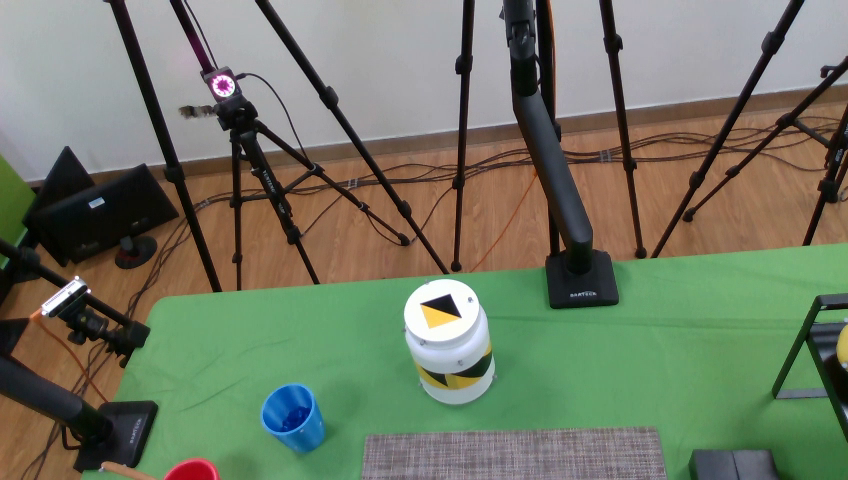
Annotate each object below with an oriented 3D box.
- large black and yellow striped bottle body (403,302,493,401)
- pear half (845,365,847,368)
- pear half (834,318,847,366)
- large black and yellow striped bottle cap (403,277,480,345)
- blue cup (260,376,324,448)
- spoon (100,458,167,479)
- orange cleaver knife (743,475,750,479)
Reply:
[{"bbox_3d":[0.039,0.160,0.968,0.130,0.186,0.129,-6,48,7],"label":"large black and yellow striped bottle body"},{"bbox_3d":[0.535,0.118,0.693,0.055,0.111,0.076,24,62,30],"label":"pear half"},{"bbox_3d":[0.510,0.110,0.718,0.031,0.089,0.070,25,62,29],"label":"pear half"},{"bbox_3d":[0.025,0.104,0.906,0.115,0.019,0.114,-7,48,9],"label":"large black and yellow striped bottle cap"},{"bbox_3d":[-0.203,0.285,0.969,0.092,0.101,0.091,-5,50,7],"label":"blue cup"},{"bbox_3d":[-0.389,0.366,0.912,0.195,0.021,0.041,31,48,-18],"label":"spoon"},{"bbox_3d":[0.408,0.396,0.727,0.012,0.077,0.210,-6,83,7],"label":"orange cleaver knife"}]
